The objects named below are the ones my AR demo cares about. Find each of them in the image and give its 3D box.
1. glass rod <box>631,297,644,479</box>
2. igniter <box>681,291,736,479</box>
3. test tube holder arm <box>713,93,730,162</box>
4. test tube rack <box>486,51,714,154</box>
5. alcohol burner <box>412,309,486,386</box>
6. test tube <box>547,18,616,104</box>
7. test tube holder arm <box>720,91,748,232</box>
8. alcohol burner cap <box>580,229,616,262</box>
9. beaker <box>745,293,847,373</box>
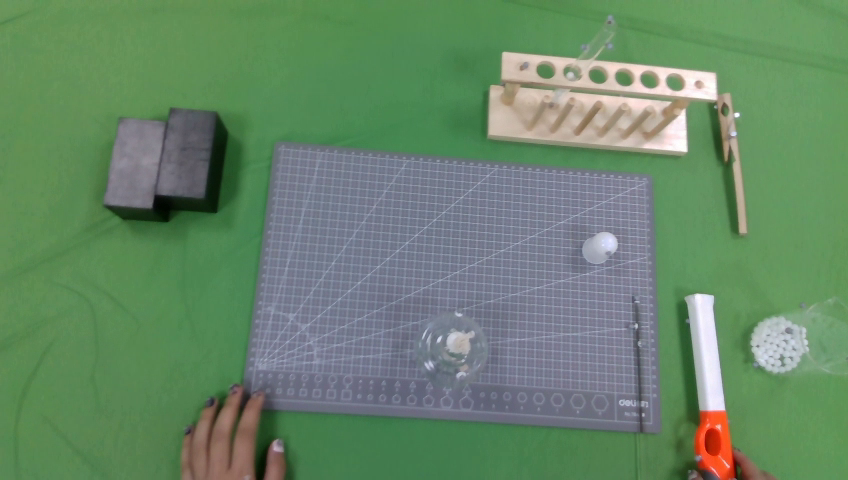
[{"bbox_3d":[0.235,0.161,0.668,0.008,0.008,0.198,4,76,-4],"label":"glass rod"},{"bbox_3d":[0.310,0.193,0.659,0.057,0.025,0.275,8,74,-27],"label":"igniter"},{"bbox_3d":[0.371,-0.140,0.752,0.010,0.015,0.087,-10,75,29],"label":"test tube holder arm"},{"bbox_3d":[0.200,-0.157,0.705,0.243,0.085,0.066,4,76,-4],"label":"test tube rack"},{"bbox_3d":[0.027,0.106,0.609,0.078,0.119,0.077,1,74,-4],"label":"alcohol burner"},{"bbox_3d":[0.167,-0.190,0.659,0.017,0.150,0.017,3,73,-10],"label":"test tube"},{"bbox_3d":[0.378,-0.097,0.740,0.013,0.015,0.177,-11,75,29],"label":"test tube holder arm"},{"bbox_3d":[0.200,0.004,0.686,0.034,0.048,0.033,1,76,-4],"label":"alcohol burner cap"},{"bbox_3d":[0.405,0.104,0.654,0.074,0.100,0.083,18,75,0],"label":"beaker"}]
